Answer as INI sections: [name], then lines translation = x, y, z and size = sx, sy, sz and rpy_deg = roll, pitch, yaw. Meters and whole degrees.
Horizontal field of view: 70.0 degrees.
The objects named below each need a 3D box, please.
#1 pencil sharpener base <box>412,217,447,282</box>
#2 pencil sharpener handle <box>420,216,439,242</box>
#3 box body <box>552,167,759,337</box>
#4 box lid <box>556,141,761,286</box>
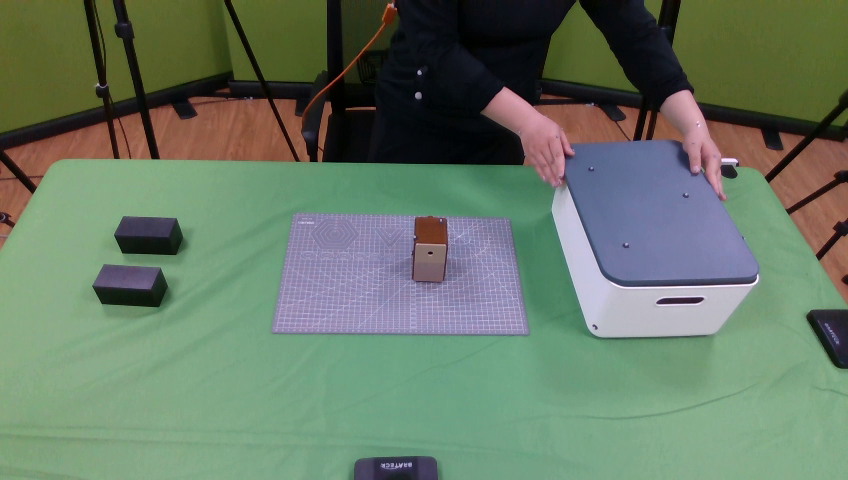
[pencil sharpener base]
translation = 0.009, 0.017, 1.118
size = 0.061, 0.107, 0.076
rpy_deg = 1, 45, -2
[pencil sharpener handle]
translation = 0.008, -0.027, 1.145
size = 0.036, 0.068, 0.030
rpy_deg = 6, 45, -6
[box body]
translation = 0.401, -0.001, 1.131
size = 0.254, 0.161, 0.361
rpy_deg = -1, 46, -5
[box lid]
translation = 0.400, -0.061, 1.078
size = 0.263, 0.015, 0.369
rpy_deg = -2, 45, -4
